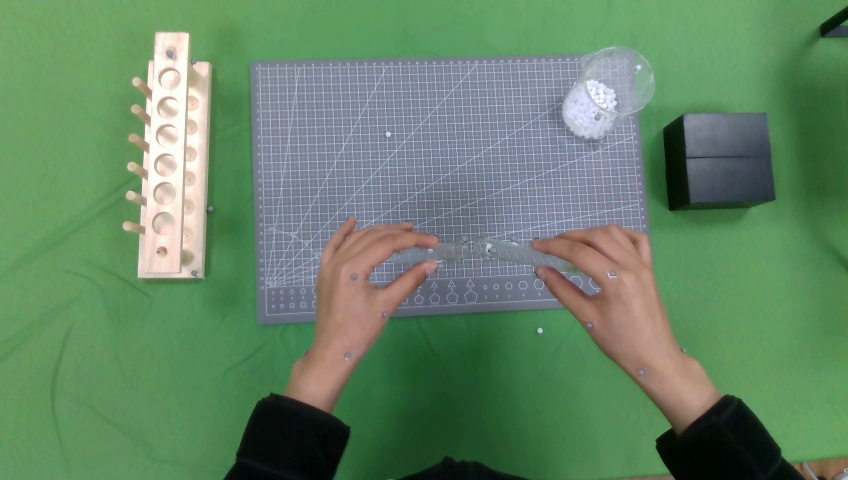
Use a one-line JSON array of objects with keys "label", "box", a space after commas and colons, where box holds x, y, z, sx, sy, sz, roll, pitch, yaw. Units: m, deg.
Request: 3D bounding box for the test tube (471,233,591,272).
[{"label": "test tube", "box": [0.098, 0.012, 0.526, 0.151, 0.017, 0.017, 11, 80, -40]}]

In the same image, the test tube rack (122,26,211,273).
[{"label": "test tube rack", "box": [-0.271, -0.089, 0.632, 0.067, 0.085, 0.241, 1, 84, -4]}]

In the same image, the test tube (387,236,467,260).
[{"label": "test tube", "box": [-0.002, 0.009, 0.553, 0.017, 0.150, 0.017, 1, 86, -24]}]

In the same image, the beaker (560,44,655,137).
[{"label": "beaker", "box": [0.194, -0.161, 0.668, 0.084, 0.100, 0.074, 35, 82, 1]}]
